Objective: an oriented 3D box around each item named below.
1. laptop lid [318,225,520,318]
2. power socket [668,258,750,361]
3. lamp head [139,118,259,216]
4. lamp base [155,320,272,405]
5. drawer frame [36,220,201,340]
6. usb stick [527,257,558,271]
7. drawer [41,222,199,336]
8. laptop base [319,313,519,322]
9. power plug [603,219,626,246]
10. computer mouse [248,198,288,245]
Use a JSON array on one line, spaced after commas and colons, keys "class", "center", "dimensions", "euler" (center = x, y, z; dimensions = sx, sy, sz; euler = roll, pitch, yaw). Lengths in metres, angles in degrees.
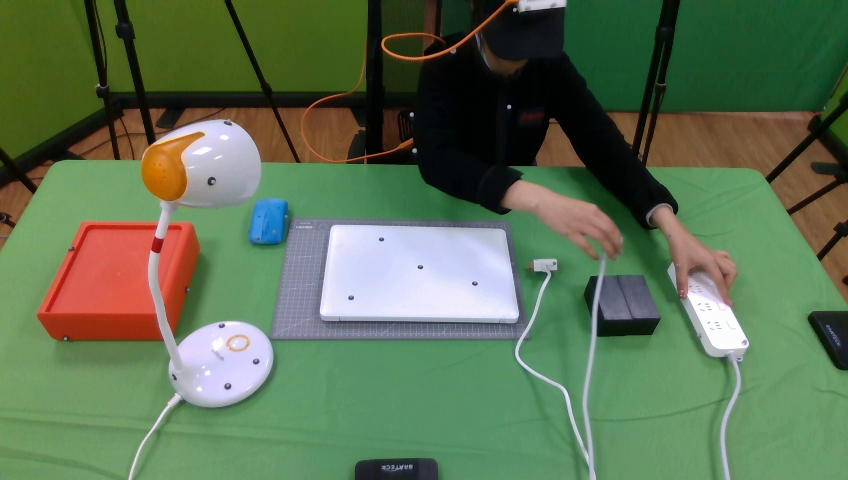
[{"class": "laptop lid", "center": [-0.008, 0.053, 1.130], "dimensions": [0.357, 0.013, 0.240], "euler": [2, 43, -2]}, {"class": "power socket", "center": [0.517, 0.118, 1.109], "dimensions": [0.072, 0.033, 0.225], "euler": [-2, 46, -5]}, {"class": "lamp head", "center": [-0.281, -0.086, 0.734], "dimensions": [0.112, 0.113, 0.123], "euler": [21, 25, 16]}, {"class": "lamp base", "center": [-0.330, 0.149, 0.918], "dimensions": [0.160, 0.181, 0.179], "euler": [26, 52, 20]}, {"class": "drawer frame", "center": [-0.518, 0.065, 1.055], "dimensions": [0.202, 0.083, 0.212], "euler": [0, 47, -5]}, {"class": "usb stick", "center": [0.226, 0.046, 1.159], "dimensions": [0.059, 0.021, 0.027], "euler": [-3, 10, 11]}, {"class": "drawer", "center": [-0.519, 0.064, 1.058], "dimensions": [0.195, 0.073, 0.210], "euler": [1, 47, -4]}, {"class": "laptop base", "center": [-0.009, 0.062, 1.137], "dimensions": [0.354, 0.023, 0.234], "euler": [1, 42, -3]}, {"class": "power plug", "center": [0.334, -0.016, 1.055], "dimensions": [0.035, 0.073, 0.052], "euler": [16, 85, 16]}, {"class": "computer mouse", "center": [-0.309, -0.041, 1.205], "dimensions": [0.063, 0.041, 0.116], "euler": [3, 50, -3]}]
